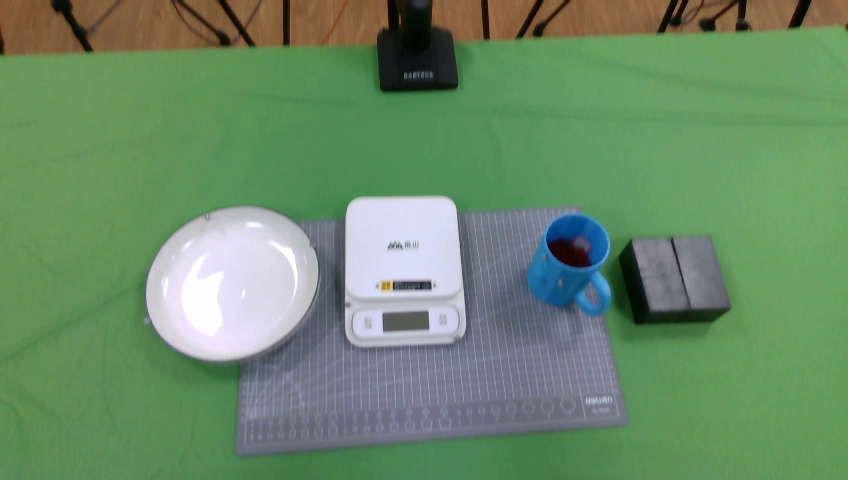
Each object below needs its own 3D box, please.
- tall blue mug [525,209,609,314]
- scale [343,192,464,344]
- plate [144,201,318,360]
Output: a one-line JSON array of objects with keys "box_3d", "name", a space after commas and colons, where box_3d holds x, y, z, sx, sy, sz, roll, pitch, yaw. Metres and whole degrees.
[{"box_3d": [0.184, 0.029, 0.737, 0.107, 0.108, 0.077, 30, 66, 12], "name": "tall blue mug"}, {"box_3d": [-0.028, 0.031, 0.770, 0.149, 0.032, 0.199, -2, 65, -3], "name": "scale"}, {"box_3d": [-0.232, 0.050, 0.748, 0.209, 0.038, 0.207, 0, 64, 0], "name": "plate"}]
